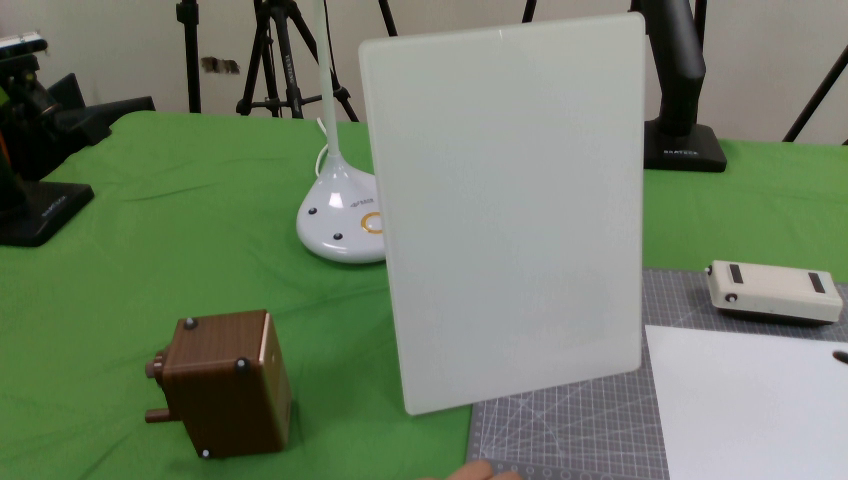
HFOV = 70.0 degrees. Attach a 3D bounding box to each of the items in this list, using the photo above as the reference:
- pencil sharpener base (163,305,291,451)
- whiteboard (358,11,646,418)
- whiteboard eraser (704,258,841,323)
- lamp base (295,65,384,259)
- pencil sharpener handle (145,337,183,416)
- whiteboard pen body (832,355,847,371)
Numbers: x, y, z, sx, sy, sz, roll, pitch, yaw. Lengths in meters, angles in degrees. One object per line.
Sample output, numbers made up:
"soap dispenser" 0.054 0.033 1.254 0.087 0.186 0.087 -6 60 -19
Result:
"pencil sharpener base" -0.154 0.111 0.481 0.077 0.108 0.060 -5 38 -4
"whiteboard" 0.063 -0.030 0.544 0.217 0.307 0.143 -9 19 -8
"whiteboard eraser" 0.338 0.050 0.594 0.112 0.042 0.055 7 39 11
"lamp base" -0.084 -0.096 0.691 0.161 0.182 0.177 -27 42 -29
"pencil sharpener handle" -0.205 0.108 0.466 0.031 0.068 0.035 -5 25 -4
"whiteboard pen body" 0.211 0.070 0.197 0.139 0.017 0.017 26 45 36
